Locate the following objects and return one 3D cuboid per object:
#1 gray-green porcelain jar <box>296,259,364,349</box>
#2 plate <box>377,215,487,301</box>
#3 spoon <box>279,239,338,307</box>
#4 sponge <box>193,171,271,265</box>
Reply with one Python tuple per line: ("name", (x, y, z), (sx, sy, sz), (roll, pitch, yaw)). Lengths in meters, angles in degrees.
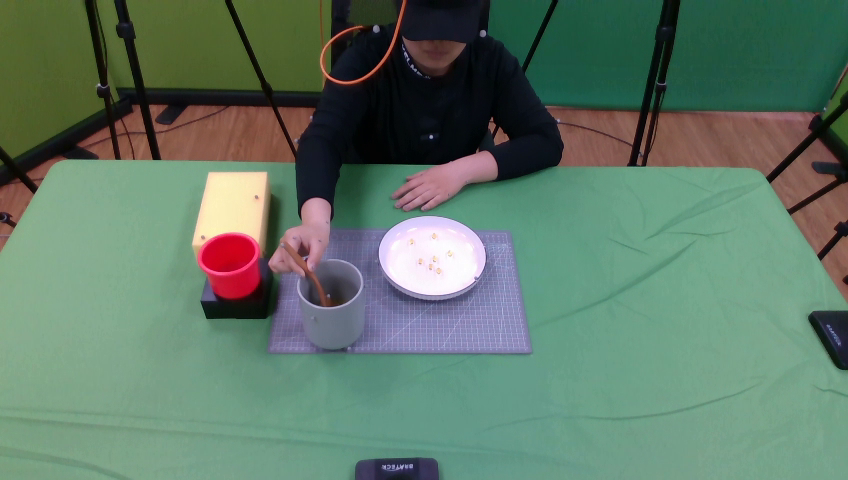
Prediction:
("gray-green porcelain jar", (-0.152, 0.111, 1.003), (0.106, 0.127, 0.105), (2, 46, -2))
("plate", (0.015, 0.037, 1.147), (0.208, 0.039, 0.206), (2, 46, -2))
("spoon", (-0.180, 0.067, 0.985), (0.021, 0.195, 0.041), (-16, 37, 12))
("sponge", (-0.371, -0.046, 1.189), (0.118, 0.061, 0.205), (-3, 46, -6))
